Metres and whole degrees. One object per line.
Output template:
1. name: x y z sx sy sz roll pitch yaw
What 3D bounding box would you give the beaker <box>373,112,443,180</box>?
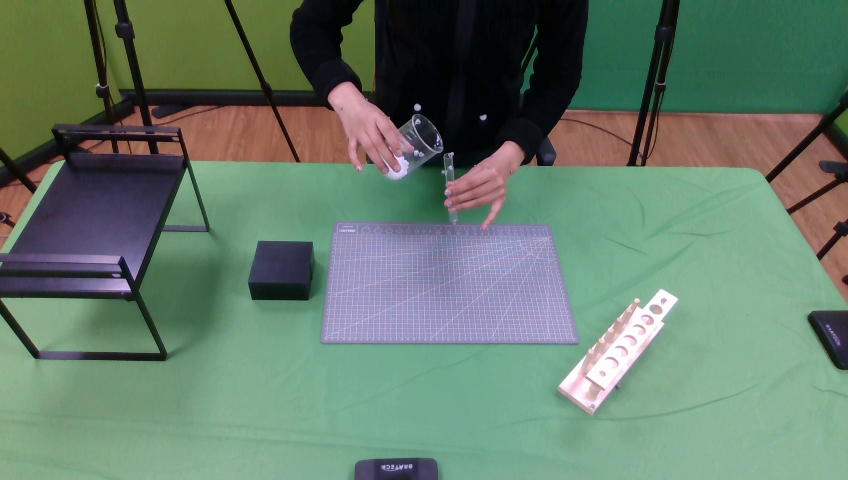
1. beaker: -0.028 -0.151 1.004 0.084 0.100 0.073 28 41 -41

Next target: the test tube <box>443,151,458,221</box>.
1. test tube: 0.047 -0.091 1.066 0.017 0.151 0.017 -4 43 4

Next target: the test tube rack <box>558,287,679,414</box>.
1. test tube rack: 0.326 0.170 1.009 0.066 0.085 0.242 35 54 26
